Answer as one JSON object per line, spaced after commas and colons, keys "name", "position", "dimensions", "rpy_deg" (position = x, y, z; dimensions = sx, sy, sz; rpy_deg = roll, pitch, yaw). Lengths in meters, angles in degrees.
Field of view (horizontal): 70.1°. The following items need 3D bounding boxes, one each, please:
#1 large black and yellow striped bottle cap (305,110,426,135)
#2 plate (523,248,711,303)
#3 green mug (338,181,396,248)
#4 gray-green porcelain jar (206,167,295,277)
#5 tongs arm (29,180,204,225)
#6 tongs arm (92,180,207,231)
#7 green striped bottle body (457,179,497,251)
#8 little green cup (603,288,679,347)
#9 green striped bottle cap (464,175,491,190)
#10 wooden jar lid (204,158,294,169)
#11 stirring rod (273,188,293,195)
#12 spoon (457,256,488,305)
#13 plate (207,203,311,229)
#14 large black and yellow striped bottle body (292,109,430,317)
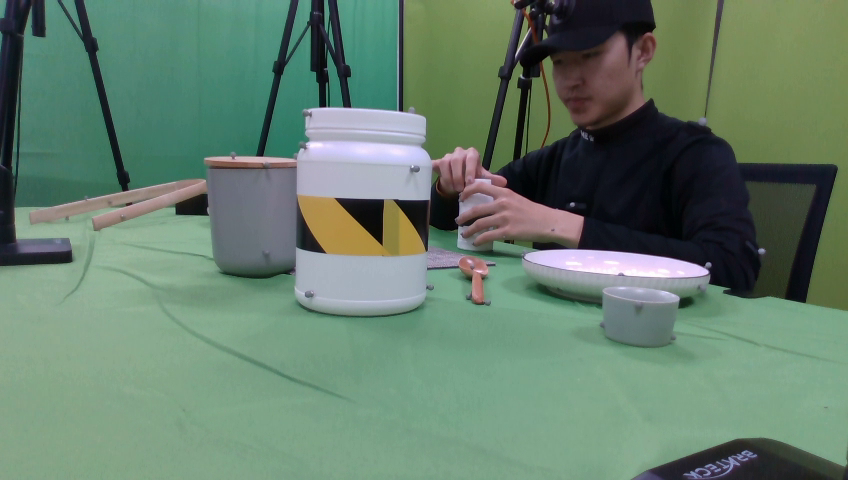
{"name": "large black and yellow striped bottle cap", "position": [-0.055, -0.110, 0.574], "dimensions": [0.115, 0.019, 0.115], "rpy_deg": [1, 7, 0]}
{"name": "plate", "position": [0.219, 0.041, 0.706], "dimensions": [0.209, 0.038, 0.209], "rpy_deg": [2, 7, 0]}
{"name": "green mug", "position": [-0.097, -0.044, 0.995], "dimensions": [0.093, 0.105, 0.125], "rpy_deg": [-1, 8, -21]}
{"name": "gray-green porcelain jar", "position": [-0.201, -0.024, 0.724], "dimensions": [0.106, 0.126, 0.106], "rpy_deg": [-1, 9, 1]}
{"name": "tongs arm", "position": [-0.609, -0.083, 1.245], "dimensions": [0.050, 0.026, 0.386], "rpy_deg": [5, 16, 23]}
{"name": "tongs arm", "position": [-0.534, -0.076, 1.221], "dimensions": [0.028, 0.028, 0.388], "rpy_deg": [-2, 15, 12]}
{"name": "green striped bottle body", "position": [0.090, -0.045, 1.023], "dimensions": [0.063, 0.119, 0.063], "rpy_deg": [3, 7, 0]}
{"name": "little green cup", "position": [0.180, 0.064, 0.505], "dimensions": [0.061, 0.038, 0.061], "rpy_deg": [2, 7, 0]}
{"name": "green striped bottle cap", "position": [0.090, -0.094, 1.015], "dimensions": [0.044, 0.020, 0.044], "rpy_deg": [14, -3, 1]}
{"name": "wooden jar lid", "position": [-0.202, -0.086, 0.714], "dimensions": [0.108, 0.020, 0.108], "rpy_deg": [3, 10, 0]}
{"name": "stirring rod", "position": [-0.353, -0.122, 1.518], "dimensions": [0.006, 0.014, 0.176], "rpy_deg": [2, 7, 2]}
{"name": "spoon", "position": [0.059, 0.044, 0.696], "dimensions": [0.041, 0.021, 0.193], "rpy_deg": [22, 7, 0]}
{"name": "plate", "position": [-0.342, -0.050, 1.259], "dimensions": [0.208, 0.039, 0.207], "rpy_deg": [2, 7, 0]}
{"name": "large black and yellow striped bottle body", "position": [-0.060, -0.028, 0.585], "dimensions": [0.131, 0.184, 0.130], "rpy_deg": [3, 7, 0]}
